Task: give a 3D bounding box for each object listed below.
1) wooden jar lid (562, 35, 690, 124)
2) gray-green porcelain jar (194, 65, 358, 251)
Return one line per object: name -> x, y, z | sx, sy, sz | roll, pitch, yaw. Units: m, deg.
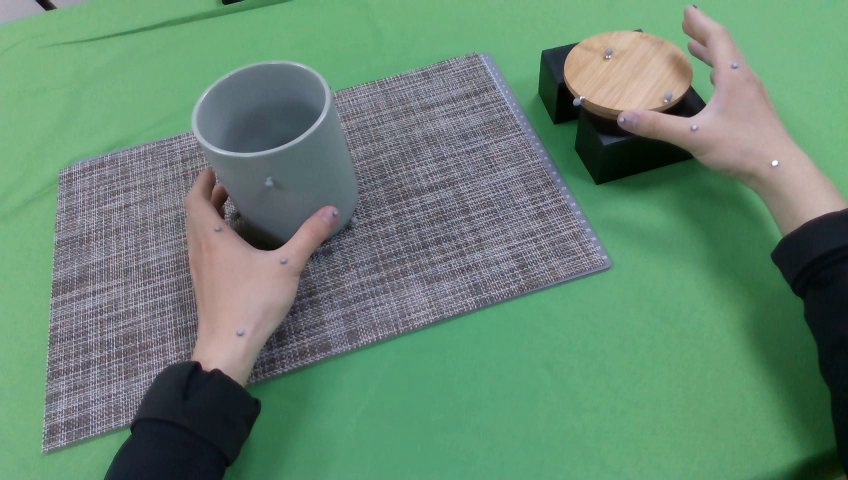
wooden jar lid -> 0.176, -0.141, 0.535 | 0.108, 0.021, 0.107 | -3, 55, 4
gray-green porcelain jar -> -0.114, -0.061, 0.501 | 0.106, 0.128, 0.105 | -3, 53, 5
